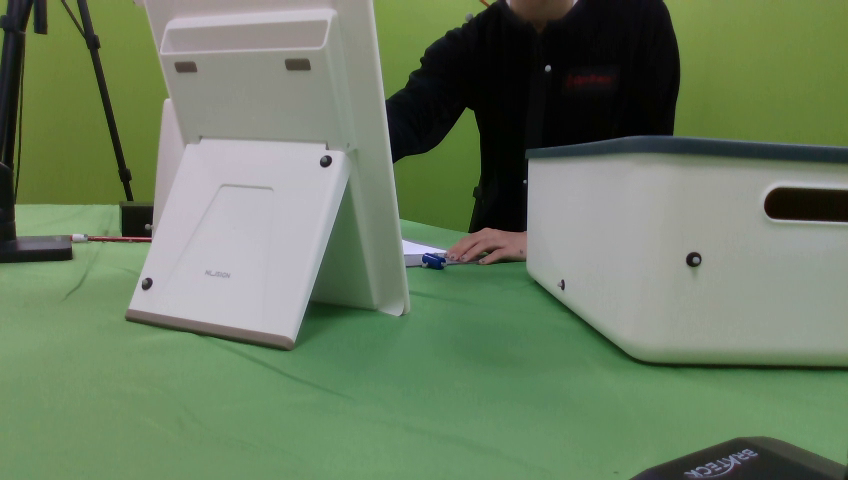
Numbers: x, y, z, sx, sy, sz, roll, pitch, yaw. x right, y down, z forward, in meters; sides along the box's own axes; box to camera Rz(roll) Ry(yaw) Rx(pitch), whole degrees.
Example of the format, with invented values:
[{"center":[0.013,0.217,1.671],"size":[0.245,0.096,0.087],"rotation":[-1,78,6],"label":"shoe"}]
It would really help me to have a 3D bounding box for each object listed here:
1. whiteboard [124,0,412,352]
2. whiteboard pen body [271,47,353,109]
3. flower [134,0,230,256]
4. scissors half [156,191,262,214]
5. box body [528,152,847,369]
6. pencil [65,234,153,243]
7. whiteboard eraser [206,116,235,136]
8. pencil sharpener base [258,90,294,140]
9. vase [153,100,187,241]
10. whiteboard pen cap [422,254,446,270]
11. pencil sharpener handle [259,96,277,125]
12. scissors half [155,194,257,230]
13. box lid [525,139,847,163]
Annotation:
[{"center":[-0.151,-0.049,0.472],"size":[0.216,0.305,0.144],"rotation":[6,27,24],"label":"whiteboard"},{"center":[-0.103,-0.151,0.563],"size":[0.017,0.017,0.141],"rotation":[6,37,23],"label":"whiteboard pen body"},{"center":[-0.282,-0.147,0.713],"size":[0.038,0.362,0.044],"rotation":[-23,24,-31],"label":"flower"},{"center":[-0.371,-0.068,1.051],"size":[0.176,0.040,0.013],"rotation":[2,25,-24],"label":"scissors half"},{"center":[0.258,-0.005,0.591],"size":[0.254,0.160,0.363],"rotation":[2,7,-4],"label":"box body"},{"center":[-0.429,0.000,0.910],"size":[0.195,0.012,0.012],"rotation":[2,7,-19],"label":"pencil"},{"center":[-0.449,-0.251,1.335],"size":[0.056,0.042,0.112],"rotation":[1,7,-22],"label":"whiteboard eraser"},{"center":[-0.341,-0.285,1.388],"size":[0.062,0.107,0.076],"rotation":[-3,9,-36],"label":"pencil sharpener base"},{"center":[-0.278,-0.066,0.736],"size":[0.098,0.200,0.098],"rotation":[2,9,0],"label":"vase"},{"center":[0.013,0.028,0.807],"size":[0.018,0.018,0.033],"rotation":[-4,14,-42],"label":"whiteboard pen cap"},{"center":[-0.373,-0.304,1.425],"size":[0.036,0.067,0.030],"rotation":[13,-1,-37],"label":"pencil sharpener handle"},{"center":[-0.378,-0.051,1.058],"size":[0.176,0.040,0.012],"rotation":[20,22,-31],"label":"scissors half"},{"center":[0.261,-0.078,0.580],"size":[0.264,0.015,0.371],"rotation":[2,7,-4],"label":"box lid"}]
